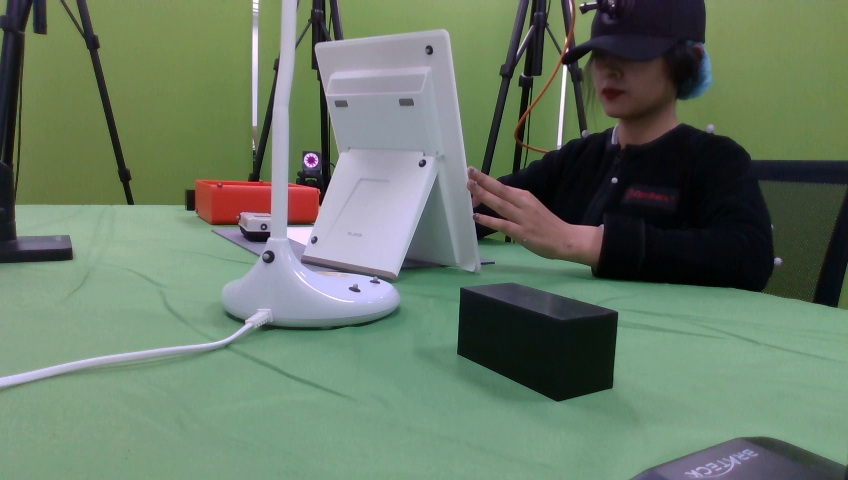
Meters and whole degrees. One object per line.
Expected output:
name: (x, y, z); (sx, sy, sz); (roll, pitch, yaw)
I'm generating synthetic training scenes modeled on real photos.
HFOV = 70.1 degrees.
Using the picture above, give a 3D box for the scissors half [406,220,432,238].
scissors half: (-0.006, -0.022, 1.215); (0.040, 0.013, 0.174); (6, 10, -15)

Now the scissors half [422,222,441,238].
scissors half: (0.013, -0.018, 1.217); (0.040, 0.013, 0.175); (14, 9, 1)

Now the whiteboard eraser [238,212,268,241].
whiteboard eraser: (-0.272, -0.023, 0.998); (0.056, 0.042, 0.112); (-2, 9, -24)

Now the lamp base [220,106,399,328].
lamp base: (-0.102, -0.023, 0.531); (0.160, 0.180, 0.179); (4, 10, 10)

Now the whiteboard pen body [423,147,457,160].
whiteboard pen body: (0.021, -0.118, 0.826); (0.017, 0.017, 0.141); (5, 9, 17)

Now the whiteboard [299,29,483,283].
whiteboard: (-0.074, -0.082, 0.742); (0.216, 0.305, 0.144); (9, 29, 38)

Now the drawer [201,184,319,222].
drawer: (-0.353, -0.082, 1.295); (0.213, 0.073, 0.193); (-2, 9, -28)

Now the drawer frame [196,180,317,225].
drawer frame: (-0.359, -0.083, 1.292); (0.215, 0.082, 0.200); (-2, 10, -30)

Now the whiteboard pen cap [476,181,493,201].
whiteboard pen cap: (0.080, -0.066, 0.806); (0.018, 0.018, 0.033); (0, 33, -16)
